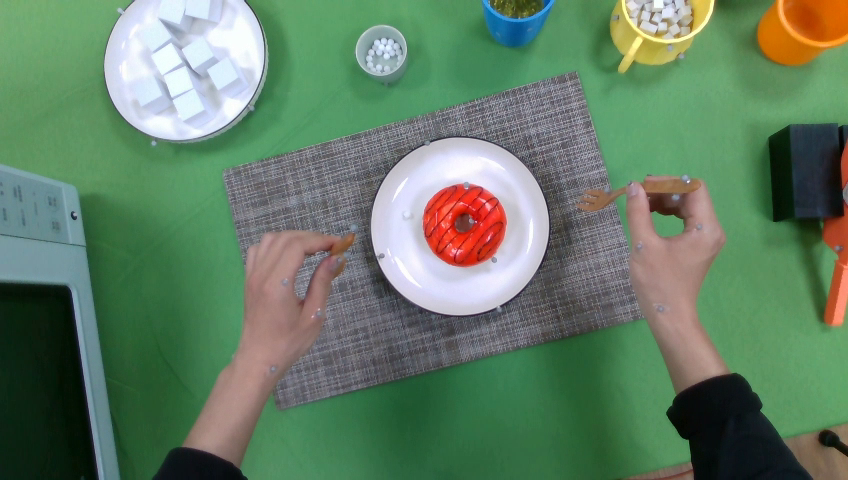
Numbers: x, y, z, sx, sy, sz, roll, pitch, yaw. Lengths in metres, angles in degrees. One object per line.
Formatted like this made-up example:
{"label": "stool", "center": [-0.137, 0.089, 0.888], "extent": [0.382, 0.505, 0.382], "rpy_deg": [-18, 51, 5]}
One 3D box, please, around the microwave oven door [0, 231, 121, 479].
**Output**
{"label": "microwave oven door", "center": [-0.410, 0.165, 0.613], "extent": [0.039, 0.244, 0.355], "rpy_deg": [-12, 84, 4]}

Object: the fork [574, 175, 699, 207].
{"label": "fork", "center": [0.194, -0.048, 0.578], "extent": [0.019, 0.207, 0.028], "rpy_deg": [37, 85, -7]}

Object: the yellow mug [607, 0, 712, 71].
{"label": "yellow mug", "center": [0.257, -0.250, 0.689], "extent": [0.099, 0.064, 0.131], "rpy_deg": [34, 90, 7]}

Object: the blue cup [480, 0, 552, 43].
{"label": "blue cup", "center": [0.103, -0.271, 0.688], "extent": [0.092, 0.100, 0.092], "rpy_deg": [0, 87, 5]}

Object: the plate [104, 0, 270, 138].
{"label": "plate", "center": [-0.289, -0.226, 0.753], "extent": [0.207, 0.039, 0.207], "rpy_deg": [0, 85, 5]}

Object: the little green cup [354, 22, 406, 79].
{"label": "little green cup", "center": [-0.050, -0.226, 0.730], "extent": [0.061, 0.039, 0.061], "rpy_deg": [-1, 85, 6]}

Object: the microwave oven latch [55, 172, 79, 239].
{"label": "microwave oven latch", "center": [-0.441, -0.040, 0.734], "extent": [0.030, 0.029, 0.079], "rpy_deg": [-8, 85, 4]}

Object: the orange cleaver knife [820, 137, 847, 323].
{"label": "orange cleaver knife", "center": [0.445, -0.013, 0.645], "extent": [0.012, 0.077, 0.213], "rpy_deg": [0, 115, 8]}

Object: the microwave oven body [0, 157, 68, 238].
{"label": "microwave oven body", "center": [-0.560, 0.154, 0.633], "extent": [0.326, 0.261, 0.440], "rpy_deg": [-12, 85, 4]}

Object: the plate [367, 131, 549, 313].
{"label": "plate", "center": [0.039, -0.020, 0.702], "extent": [0.209, 0.038, 0.208], "rpy_deg": [0, 86, 6]}

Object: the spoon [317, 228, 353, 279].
{"label": "spoon", "center": [-0.086, 0.011, 0.580], "extent": [0.022, 0.194, 0.041], "rpy_deg": [31, 75, -4]}

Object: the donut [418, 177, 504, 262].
{"label": "donut", "center": [0.042, -0.023, 0.691], "extent": [0.099, 0.048, 0.099], "rpy_deg": [0, 86, 7]}
